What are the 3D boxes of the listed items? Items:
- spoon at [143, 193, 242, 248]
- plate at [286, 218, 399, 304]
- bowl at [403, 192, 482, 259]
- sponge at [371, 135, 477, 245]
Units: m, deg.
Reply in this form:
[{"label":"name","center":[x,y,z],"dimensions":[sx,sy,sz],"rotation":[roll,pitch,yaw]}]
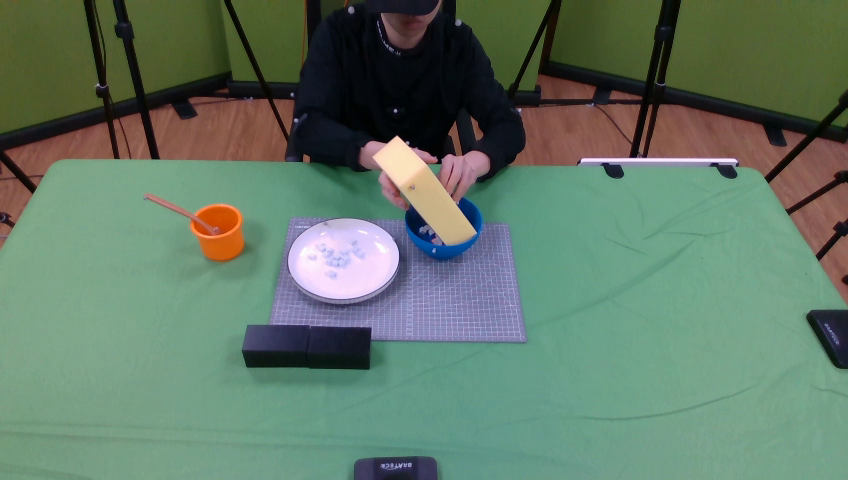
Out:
[{"label":"spoon","center":[-0.421,-0.037,1.113],"dimensions":[0.021,0.195,0.041],"rotation":[-37,37,23]},{"label":"plate","center":[-0.150,0.041,1.131],"dimensions":[0.209,0.038,0.208],"rotation":[2,45,-2]},{"label":"bowl","center":[0.034,-0.016,1.173],"dimensions":[0.151,0.077,0.150],"rotation":[3,46,-3]},{"label":"sponge","center":[0.002,-0.080,1.089],"dimensions":[0.061,0.208,0.117],"rotation":[-41,45,0]}]
